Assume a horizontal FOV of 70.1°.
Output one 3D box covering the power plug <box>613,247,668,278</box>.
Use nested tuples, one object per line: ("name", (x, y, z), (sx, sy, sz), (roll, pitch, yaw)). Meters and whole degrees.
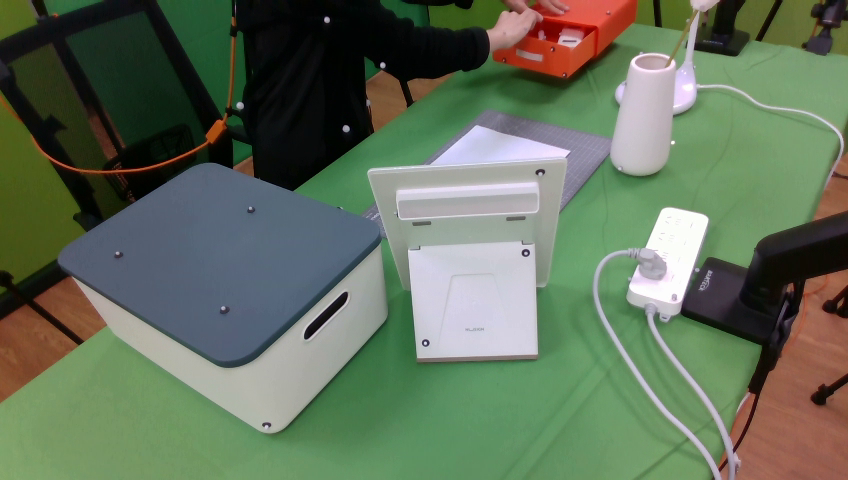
("power plug", (0.306, 0.032, 0.851), (0.072, 0.053, 0.035), (24, 49, 34))

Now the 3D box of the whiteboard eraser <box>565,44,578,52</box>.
("whiteboard eraser", (0.332, -0.414, 1.357), (0.055, 0.042, 0.113), (2, 12, 22))

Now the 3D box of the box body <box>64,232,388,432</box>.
("box body", (-0.256, 0.065, 0.827), (0.361, 0.161, 0.255), (20, 48, 29))

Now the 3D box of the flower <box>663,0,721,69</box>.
("flower", (0.379, -0.261, 0.965), (0.044, 0.362, 0.038), (20, 52, 5))

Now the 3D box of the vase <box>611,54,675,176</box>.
("vase", (0.377, -0.209, 1.031), (0.098, 0.201, 0.097), (-3, 40, 3))

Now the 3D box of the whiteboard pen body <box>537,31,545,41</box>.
("whiteboard pen body", (0.270, -0.441, 1.372), (0.017, 0.017, 0.140), (-2, 41, 6))

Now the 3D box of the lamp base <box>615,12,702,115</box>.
("lamp base", (0.484, -0.363, 1.211), (0.180, 0.181, 0.159), (-15, 41, -14))

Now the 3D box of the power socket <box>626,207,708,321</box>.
("power socket", (0.359, 0.025, 0.886), (0.072, 0.033, 0.227), (16, 46, 26))

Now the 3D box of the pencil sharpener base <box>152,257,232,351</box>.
("pencil sharpener base", (-0.322, 0.088, 0.841), (0.061, 0.107, 0.076), (-28, 44, -20))

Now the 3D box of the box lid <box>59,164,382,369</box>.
("box lid", (-0.263, 0.010, 0.777), (0.368, 0.015, 0.264), (20, 47, 29))

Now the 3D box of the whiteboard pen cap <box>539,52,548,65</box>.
("whiteboard pen cap", (0.263, -0.399, 1.331), (0.018, 0.018, 0.033), (-1, 42, 7))

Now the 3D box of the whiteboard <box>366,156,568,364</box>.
("whiteboard", (0.059, 0.050, 0.738), (0.217, 0.307, 0.143), (-2, 60, 6))

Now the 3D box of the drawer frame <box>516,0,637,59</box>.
("drawer frame", (0.356, -0.516, 1.415), (0.200, 0.083, 0.214), (22, 49, 31))

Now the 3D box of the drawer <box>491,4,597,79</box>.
("drawer", (0.289, -0.452, 1.353), (0.193, 0.073, 0.212), (24, 49, 32))

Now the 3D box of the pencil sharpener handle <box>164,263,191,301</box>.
("pencil sharpener handle", (-0.354, 0.055, 0.866), (0.036, 0.068, 0.030), (-17, 39, -29))

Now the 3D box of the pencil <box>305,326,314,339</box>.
("pencil", (-0.187, 0.106, 0.880), (0.012, 0.012, 0.192), (-27, 42, -22))
